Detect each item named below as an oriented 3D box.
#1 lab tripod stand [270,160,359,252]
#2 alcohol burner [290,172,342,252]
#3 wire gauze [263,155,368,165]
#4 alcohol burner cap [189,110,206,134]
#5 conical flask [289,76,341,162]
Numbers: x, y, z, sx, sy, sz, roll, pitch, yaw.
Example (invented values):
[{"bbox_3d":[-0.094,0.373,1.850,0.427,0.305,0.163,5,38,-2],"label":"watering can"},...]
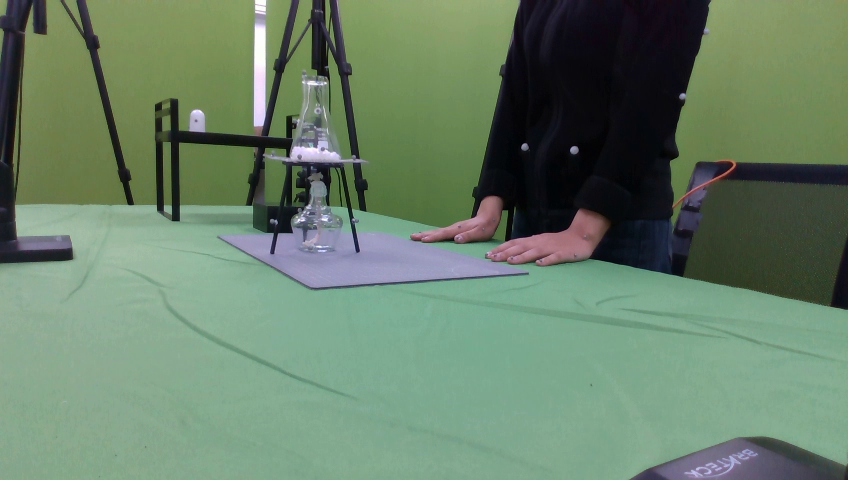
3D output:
[{"bbox_3d":[-0.167,-0.051,0.892,0.148,0.131,0.148,4,9,0],"label":"lab tripod stand"},{"bbox_3d":[-0.160,-0.042,0.899,0.078,0.119,0.078,4,9,0],"label":"alcohol burner"},{"bbox_3d":[-0.160,-0.116,0.888,0.122,0.011,0.124,-1,6,-32],"label":"wire gauze"},{"bbox_3d":[-0.464,-0.242,1.240,0.034,0.048,0.034,4,7,0],"label":"alcohol burner cap"},{"bbox_3d":[-0.159,-0.175,0.882,0.075,0.122,0.075,1,9,0],"label":"conical flask"}]
